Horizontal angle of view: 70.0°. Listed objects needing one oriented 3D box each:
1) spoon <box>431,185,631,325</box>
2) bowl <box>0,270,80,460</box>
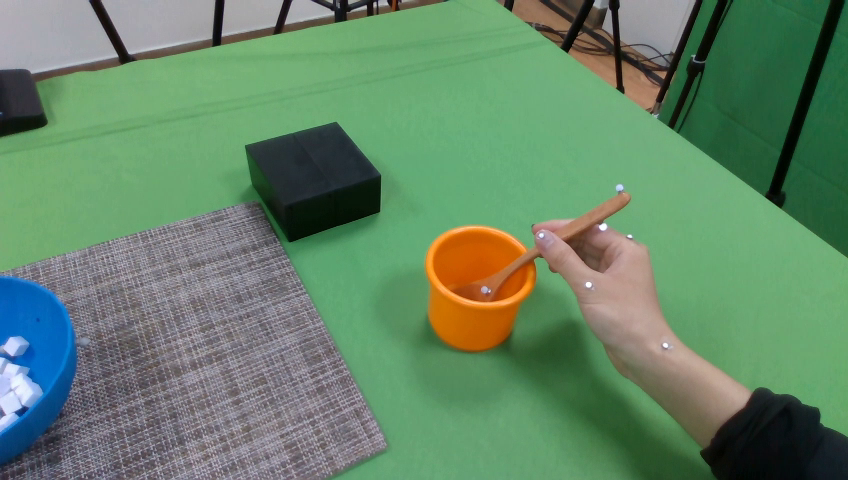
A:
[{"bbox_3d":[0.084,0.013,0.497,0.022,0.194,0.041,30,32,-43],"label":"spoon"},{"bbox_3d":[-0.308,0.101,0.414,0.151,0.077,0.150,4,46,-3],"label":"bowl"}]
